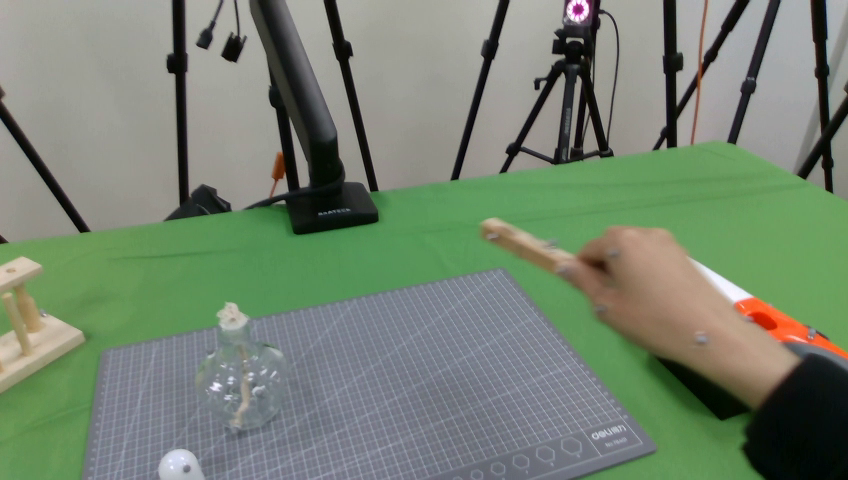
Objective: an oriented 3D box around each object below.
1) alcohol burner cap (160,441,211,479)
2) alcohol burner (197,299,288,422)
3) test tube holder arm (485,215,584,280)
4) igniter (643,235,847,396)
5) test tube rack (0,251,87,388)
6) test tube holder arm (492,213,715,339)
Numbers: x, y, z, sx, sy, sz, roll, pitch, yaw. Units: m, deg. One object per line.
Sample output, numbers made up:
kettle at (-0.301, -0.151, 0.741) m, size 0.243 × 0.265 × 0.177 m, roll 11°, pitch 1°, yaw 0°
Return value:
alcohol burner cap at (-0.183, 0.174, 0.461) m, size 0.034 × 0.048 × 0.033 m, roll 1°, pitch 31°, yaw 0°
alcohol burner at (-0.157, 0.098, 0.518) m, size 0.078 × 0.120 × 0.077 m, roll 1°, pitch 33°, yaw 0°
test tube holder arm at (0.083, 0.005, 0.454) m, size 0.087 × 0.015 × 0.010 m, roll 29°, pitch 43°, yaw 32°
igniter at (0.306, 0.063, 0.571) m, size 0.057 × 0.025 × 0.273 m, roll -12°, pitch 30°, yaw -17°
test tube rack at (-0.441, 0.109, 0.535) m, size 0.066 × 0.086 × 0.242 m, roll 17°, pitch 35°, yaw 26°
test tube holder arm at (0.120, 0.021, 0.435) m, size 0.177 × 0.015 × 0.013 m, roll 29°, pitch 43°, yaw 31°
